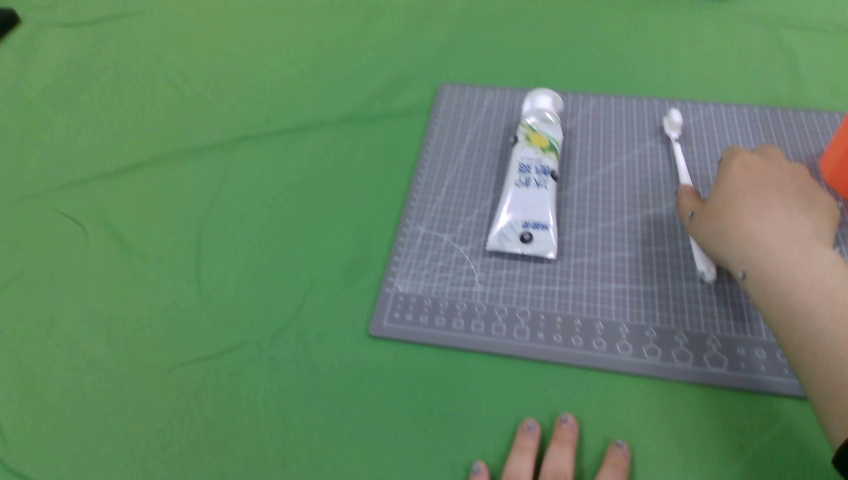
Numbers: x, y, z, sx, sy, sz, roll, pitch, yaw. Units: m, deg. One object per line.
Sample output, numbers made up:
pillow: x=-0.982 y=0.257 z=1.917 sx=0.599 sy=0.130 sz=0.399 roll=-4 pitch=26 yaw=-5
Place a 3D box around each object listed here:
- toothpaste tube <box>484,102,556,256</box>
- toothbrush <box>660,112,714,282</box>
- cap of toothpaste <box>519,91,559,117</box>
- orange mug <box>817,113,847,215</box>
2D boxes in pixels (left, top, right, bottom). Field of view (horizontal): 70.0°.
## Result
toothpaste tube: x=0.087 y=-0.057 z=0.508 sx=0.055 sy=0.035 sz=0.164 roll=4 pitch=55 yaw=13
toothbrush: x=0.214 y=-0.042 z=0.495 sx=0.014 sy=0.017 sz=0.180 roll=10 pitch=52 yaw=-4
cap of toothpaste: x=0.104 y=-0.119 z=0.550 sx=0.037 sy=0.038 sz=0.011 roll=10 pitch=58 yaw=11
orange mug: x=0.361 y=-0.073 z=0.459 sx=0.083 sy=0.102 sz=0.126 roll=31 pitch=54 yaw=26
